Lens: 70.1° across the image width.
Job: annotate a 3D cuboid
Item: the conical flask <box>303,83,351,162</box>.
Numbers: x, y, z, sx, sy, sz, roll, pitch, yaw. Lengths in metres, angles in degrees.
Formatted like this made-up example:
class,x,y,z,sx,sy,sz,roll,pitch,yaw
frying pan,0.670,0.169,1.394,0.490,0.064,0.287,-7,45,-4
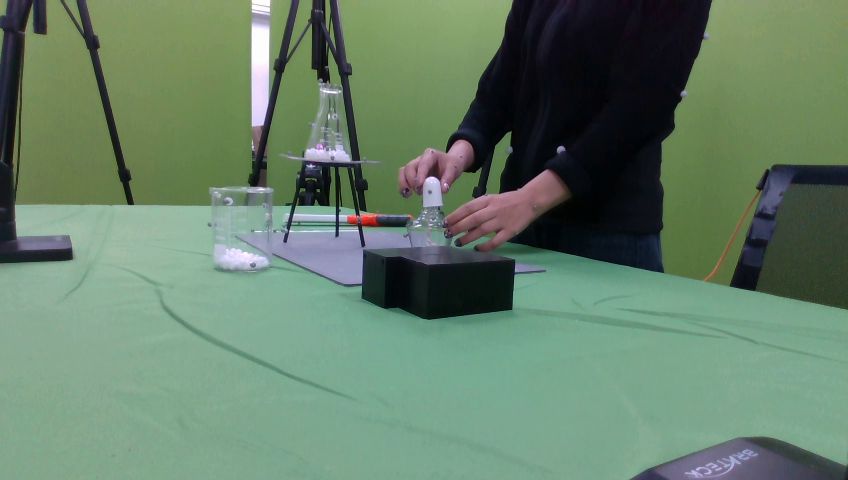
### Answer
class,x,y,z,sx,sy,sz,roll,pitch,yaw
conical flask,-0.151,-0.186,0.963,0.075,0.122,0.075,4,6,0

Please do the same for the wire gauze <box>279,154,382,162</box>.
class,x,y,z,sx,sy,sz,roll,pitch,yaw
wire gauze,-0.149,-0.128,0.974,0.124,0.011,0.122,6,6,41

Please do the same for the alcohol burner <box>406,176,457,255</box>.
class,x,y,z,sx,sy,sz,roll,pitch,yaw
alcohol burner,0.012,-0.038,0.919,0.078,0.119,0.078,3,6,0

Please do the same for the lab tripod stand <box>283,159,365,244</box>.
class,x,y,z,sx,sy,sz,roll,pitch,yaw
lab tripod stand,-0.151,-0.063,0.983,0.148,0.131,0.148,4,7,0

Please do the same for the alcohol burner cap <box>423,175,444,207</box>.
class,x,y,z,sx,sy,sz,roll,pitch,yaw
alcohol burner cap,0.012,-0.074,0.914,0.034,0.048,0.034,-5,5,1

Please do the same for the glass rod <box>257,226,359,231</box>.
class,x,y,z,sx,sy,sz,roll,pitch,yaw
glass rod,-0.216,-0.022,1.151,0.201,0.008,0.008,-2,8,-28

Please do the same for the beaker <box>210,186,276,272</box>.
class,x,y,z,sx,sy,sz,roll,pitch,yaw
beaker,-0.224,-0.014,0.738,0.084,0.100,0.074,4,7,16

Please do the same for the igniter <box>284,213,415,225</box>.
class,x,y,z,sx,sy,sz,roll,pitch,yaw
igniter,-0.154,-0.045,1.282,0.278,0.025,0.057,0,-3,-20
